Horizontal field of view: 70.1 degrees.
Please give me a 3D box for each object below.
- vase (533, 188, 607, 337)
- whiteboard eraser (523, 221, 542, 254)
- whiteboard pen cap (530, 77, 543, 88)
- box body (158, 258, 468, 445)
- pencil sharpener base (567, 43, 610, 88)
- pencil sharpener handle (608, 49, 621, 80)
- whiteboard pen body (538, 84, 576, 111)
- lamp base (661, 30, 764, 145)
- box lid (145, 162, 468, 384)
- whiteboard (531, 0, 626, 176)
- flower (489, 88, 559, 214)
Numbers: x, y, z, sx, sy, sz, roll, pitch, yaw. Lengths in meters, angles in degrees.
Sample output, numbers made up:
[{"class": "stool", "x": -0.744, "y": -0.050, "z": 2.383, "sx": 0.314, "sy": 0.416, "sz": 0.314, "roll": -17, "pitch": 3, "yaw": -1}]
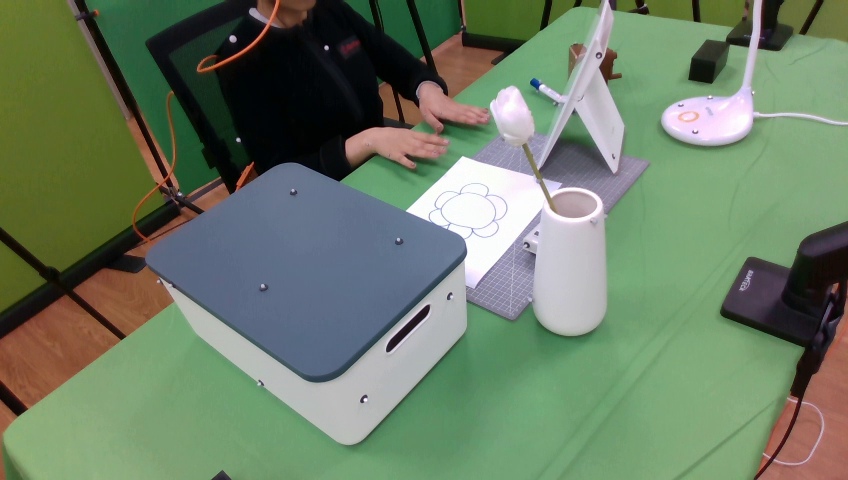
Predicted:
[{"class": "vase", "x": 0.187, "y": 0.033, "z": 0.771, "sx": 0.098, "sy": 0.201, "sz": 0.097, "roll": -6, "pitch": 41, "yaw": 6}, {"class": "whiteboard eraser", "x": 0.207, "y": -0.013, "z": 0.938, "sx": 0.055, "sy": 0.042, "sz": 0.113, "roll": 28, "pitch": 52, "yaw": 33}, {"class": "whiteboard pen cap", "x": 0.248, "y": -0.344, "z": 1.328, "sx": 0.018, "sy": 0.018, "sz": 0.033, "roll": -23, "pitch": 46, "yaw": -16}, {"class": "box body", "x": -0.147, "y": 0.072, "z": 0.816, "sx": 0.361, "sy": 0.161, "sz": 0.255, "roll": 24, "pitch": 50, "yaw": 33}, {"class": "pencil sharpener base", "x": 0.345, "y": -0.352, "z": 1.263, "sx": 0.077, "sy": 0.107, "sz": 0.061, "roll": -8, "pitch": 40, "yaw": 1}, {"class": "pencil sharpener handle", "x": 0.394, "y": -0.367, "z": 1.253, "sx": 0.030, "sy": 0.068, "sz": 0.036, "roll": -8, "pitch": 33, "yaw": 1}, {"class": "whiteboard pen body", "x": 0.278, "y": -0.309, "z": 1.289, "sx": 0.017, "sy": 0.017, "sz": 0.139, "roll": -25, "pitch": 46, "yaw": -18}, {"class": "lamp base", "x": 0.535, "y": -0.287, "z": 1.096, "sx": 0.179, "sy": 0.181, "sz": 0.159, "roll": -10, "pitch": 40, "yaw": -4}, {"class": "box lid", "x": -0.157, "y": 0.014, "z": 0.769, "sx": 0.368, "sy": 0.015, "sz": 0.264, "roll": 25, "pitch": 51, "yaw": 33}, {"class": "whiteboard", "x": 0.320, "y": -0.259, "z": 1.050, "sx": 0.144, "sy": 0.306, "sz": 0.217, "roll": 22, "pitch": 45, "yaw": 5}, {"class": "flower", "x": 0.158, "y": -0.027, "z": 0.720, "sx": 0.038, "sy": 0.364, "sz": 0.044, "roll": -14, "pitch": 44, "yaw": 23}]
